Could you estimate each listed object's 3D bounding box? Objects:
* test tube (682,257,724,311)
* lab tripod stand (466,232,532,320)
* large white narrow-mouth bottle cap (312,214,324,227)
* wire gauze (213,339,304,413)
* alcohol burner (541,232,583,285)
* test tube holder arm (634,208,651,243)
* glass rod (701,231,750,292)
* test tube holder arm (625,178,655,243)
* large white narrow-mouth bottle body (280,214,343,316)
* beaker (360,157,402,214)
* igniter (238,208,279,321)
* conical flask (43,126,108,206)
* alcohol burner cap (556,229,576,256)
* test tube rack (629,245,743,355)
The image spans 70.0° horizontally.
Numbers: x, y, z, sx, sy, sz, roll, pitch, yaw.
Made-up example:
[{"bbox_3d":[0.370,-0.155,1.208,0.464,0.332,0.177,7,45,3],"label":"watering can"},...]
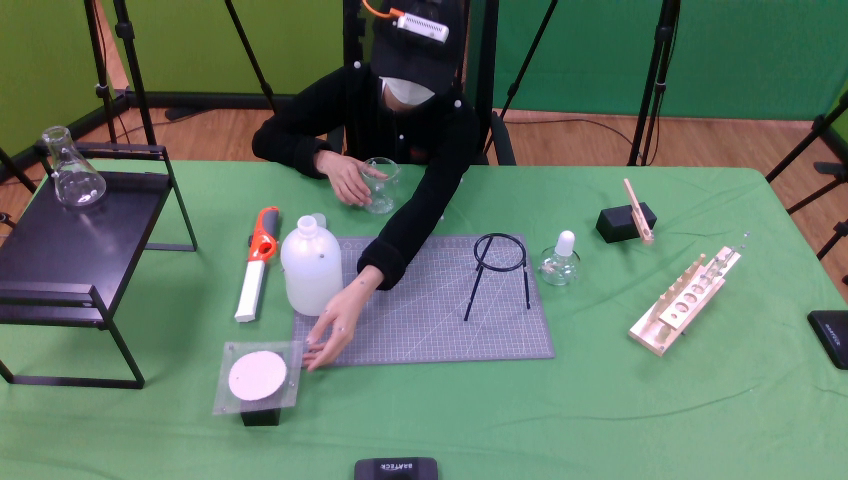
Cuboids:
[{"bbox_3d":[0.475,0.080,1.037,0.017,0.151,0.017,2,50,-2],"label":"test tube"},{"bbox_3d":[0.125,0.060,1.065,0.148,0.132,0.147,1,45,0],"label":"lab tripod stand"},{"bbox_3d":[-0.219,-0.033,1.214,0.038,0.024,0.037,2,46,-2],"label":"large white narrow-mouth bottle cap"},{"bbox_3d":[-0.250,0.203,0.924,0.121,0.011,0.124,-1,46,-3],"label":"wire gauze"},{"bbox_3d":[0.258,0.028,1.123,0.078,0.120,0.077,1,48,0],"label":"alcohol burner"},{"bbox_3d":[0.428,-0.030,1.189,0.010,0.015,0.087,1,47,-2],"label":"test tube holder arm"},{"bbox_3d":[0.519,0.045,1.050,0.008,0.201,0.008,0,55,0],"label":"glass rod"},{"bbox_3d":[0.433,-0.062,1.220,0.013,0.015,0.177,1,47,-3],"label":"test tube holder arm"},{"bbox_3d":[-0.190,0.035,1.025,0.102,0.195,0.101,2,46,-2],"label":"large white narrow-mouth bottle body"},{"bbox_3d":[-0.089,-0.109,1.242,0.084,0.101,0.073,-8,47,-12],"label":"beaker"},{"bbox_3d":[-0.309,0.036,1.136,0.057,0.025,0.274,-7,45,4],"label":"igniter"},{"bbox_3d":[-0.555,-0.119,0.953,0.075,0.122,0.075,2,46,-2],"label":"conical flask"},{"bbox_3d":[0.260,0.002,1.098,0.034,0.048,0.033,3,40,-2],"label":"alcohol burner cap"},{"bbox_3d":[0.474,0.095,1.091,0.242,0.085,0.066,-34,56,-31],"label":"test tube rack"}]
